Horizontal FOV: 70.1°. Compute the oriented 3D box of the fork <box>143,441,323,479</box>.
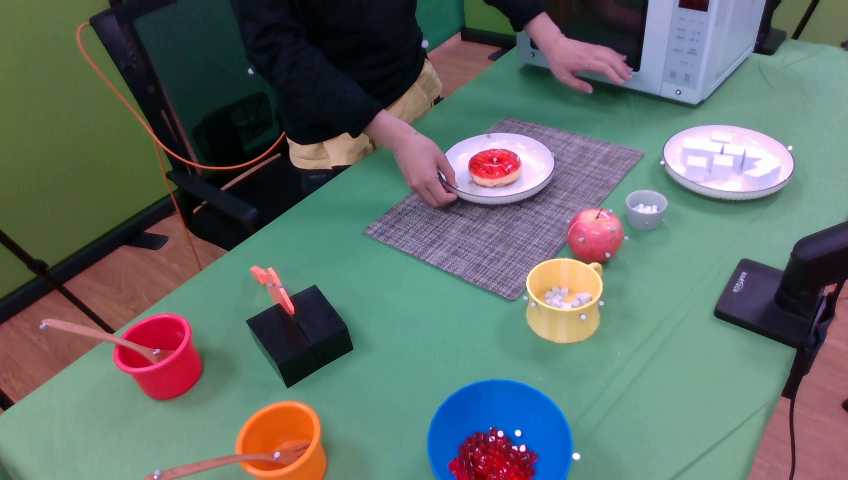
[{"bbox_3d":[-0.189,0.231,0.631,0.028,0.018,0.209,35,13,37],"label":"fork"}]

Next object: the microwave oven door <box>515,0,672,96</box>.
[{"bbox_3d":[0.343,-0.454,1.259,0.353,0.245,0.039,26,51,33],"label":"microwave oven door"}]

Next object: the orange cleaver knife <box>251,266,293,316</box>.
[{"bbox_3d":[-0.221,0.071,0.873,0.012,0.077,0.210,-25,11,-21],"label":"orange cleaver knife"}]

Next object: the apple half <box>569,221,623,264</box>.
[{"bbox_3d":[0.251,0.010,0.884,0.081,0.081,0.032,3,37,12],"label":"apple half"}]

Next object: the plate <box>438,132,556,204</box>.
[{"bbox_3d":[0.130,-0.125,1.084,0.209,0.038,0.208,-4,40,4],"label":"plate"}]

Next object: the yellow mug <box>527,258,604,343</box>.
[{"bbox_3d":[0.201,0.073,0.825,0.131,0.064,0.099,-32,46,-27],"label":"yellow mug"}]

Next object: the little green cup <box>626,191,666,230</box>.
[{"bbox_3d":[0.352,-0.046,0.963,0.061,0.039,0.061,-4,40,4],"label":"little green cup"}]

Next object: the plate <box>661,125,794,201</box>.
[{"bbox_3d":[0.513,-0.128,1.035,0.207,0.039,0.206,-4,40,4],"label":"plate"}]

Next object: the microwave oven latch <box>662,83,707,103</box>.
[{"bbox_3d":[0.517,-0.296,1.204,0.078,0.029,0.030,27,52,35],"label":"microwave oven latch"}]

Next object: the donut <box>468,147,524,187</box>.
[{"bbox_3d":[0.128,-0.132,1.075,0.099,0.048,0.098,-5,38,5],"label":"donut"}]

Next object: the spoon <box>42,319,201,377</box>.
[{"bbox_3d":[-0.385,0.135,0.779,0.195,0.021,0.041,29,36,-26],"label":"spoon"}]

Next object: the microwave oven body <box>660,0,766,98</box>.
[{"bbox_3d":[0.472,-0.513,1.317,0.438,0.261,0.327,26,51,34],"label":"microwave oven body"}]

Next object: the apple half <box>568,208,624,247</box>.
[{"bbox_3d":[0.259,-0.014,0.914,0.080,0.075,0.053,0,36,15],"label":"apple half"}]

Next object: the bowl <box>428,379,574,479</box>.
[{"bbox_3d":[0.082,0.233,0.644,0.151,0.077,0.150,-4,39,4],"label":"bowl"}]
